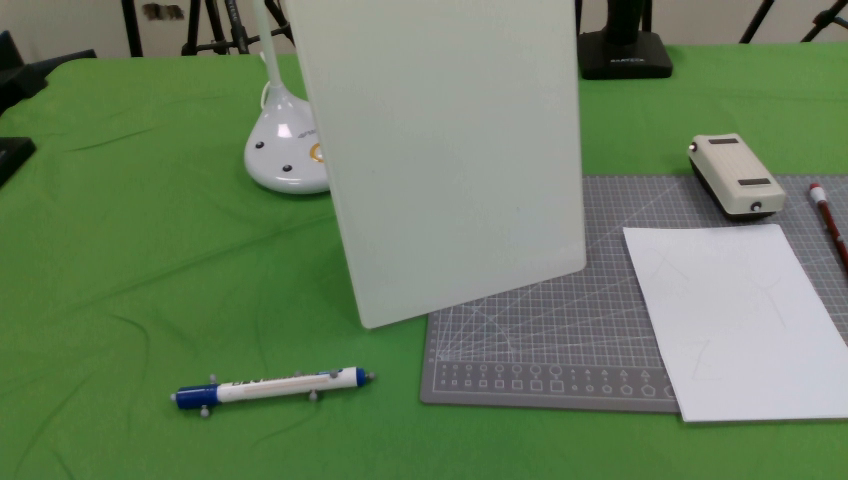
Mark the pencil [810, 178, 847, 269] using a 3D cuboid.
[{"bbox_3d":[0.389,0.006,0.562,0.012,0.012,0.192,4,46,10],"label":"pencil"}]

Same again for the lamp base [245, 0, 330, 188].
[{"bbox_3d":[-0.147,-0.176,0.679,0.160,0.182,0.177,-35,48,-28],"label":"lamp base"}]

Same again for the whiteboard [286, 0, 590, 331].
[{"bbox_3d":[0.012,-0.109,0.545,0.217,0.307,0.142,-14,25,-9],"label":"whiteboard"}]

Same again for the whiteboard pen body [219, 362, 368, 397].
[{"bbox_3d":[-0.116,0.114,0.490,0.141,0.017,0.017,-6,43,-1],"label":"whiteboard pen body"}]

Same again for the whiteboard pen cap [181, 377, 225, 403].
[{"bbox_3d":[-0.176,0.120,0.487,0.033,0.018,0.018,-7,43,-2],"label":"whiteboard pen cap"}]

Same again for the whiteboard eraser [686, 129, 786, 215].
[{"bbox_3d":[0.318,-0.070,0.625,0.055,0.042,0.111,-6,43,0],"label":"whiteboard eraser"}]
